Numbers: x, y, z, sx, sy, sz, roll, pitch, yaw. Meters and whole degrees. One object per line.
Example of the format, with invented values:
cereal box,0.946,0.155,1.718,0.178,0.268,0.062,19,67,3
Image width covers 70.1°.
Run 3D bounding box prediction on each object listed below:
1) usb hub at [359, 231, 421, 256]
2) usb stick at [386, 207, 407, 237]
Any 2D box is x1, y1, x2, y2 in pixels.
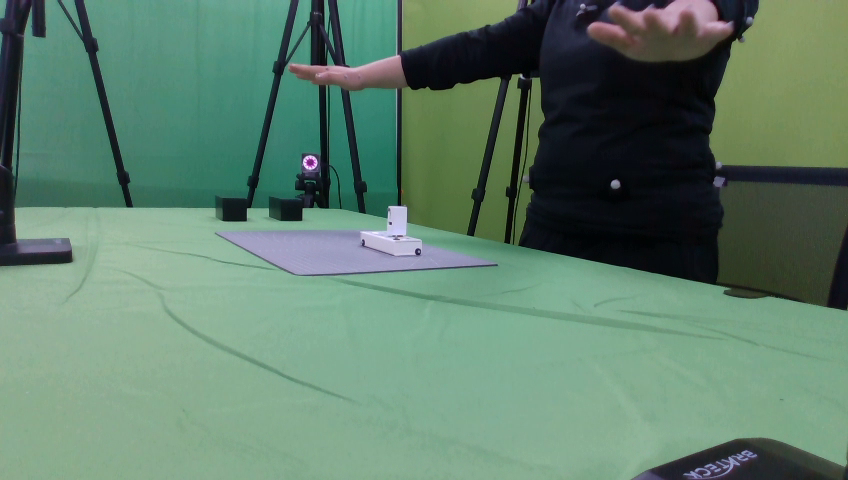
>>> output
usb hub,-0.056,0.004,0.954,0.050,0.025,0.124,-2,8,-31
usb stick,-0.043,-0.022,0.937,0.027,0.059,0.021,-5,10,-34
